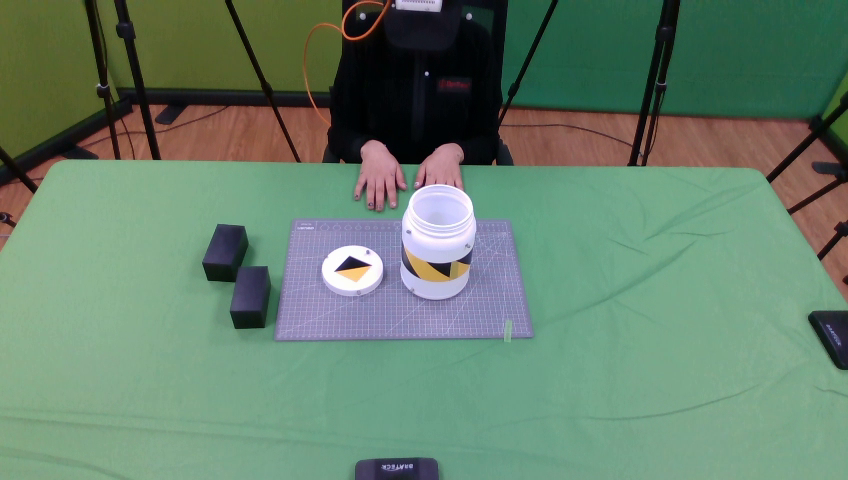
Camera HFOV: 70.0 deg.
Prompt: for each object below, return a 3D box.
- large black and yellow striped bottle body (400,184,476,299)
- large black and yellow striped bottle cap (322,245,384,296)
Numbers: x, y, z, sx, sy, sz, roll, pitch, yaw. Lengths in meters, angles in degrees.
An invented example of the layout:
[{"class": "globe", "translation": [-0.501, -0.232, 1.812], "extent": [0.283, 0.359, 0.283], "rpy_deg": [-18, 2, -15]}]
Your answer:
[{"class": "large black and yellow striped bottle body", "translation": [0.024, 0.003, 1.079], "extent": [0.131, 0.185, 0.130], "rpy_deg": [2, 46, -2]}, {"class": "large black and yellow striped bottle cap", "translation": [-0.133, 0.055, 1.135], "extent": [0.115, 0.019, 0.114], "rpy_deg": [2, 47, -2]}]
